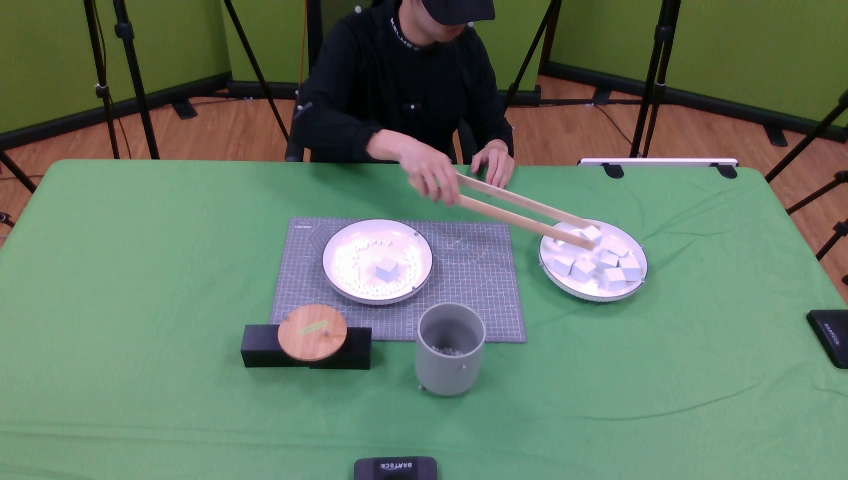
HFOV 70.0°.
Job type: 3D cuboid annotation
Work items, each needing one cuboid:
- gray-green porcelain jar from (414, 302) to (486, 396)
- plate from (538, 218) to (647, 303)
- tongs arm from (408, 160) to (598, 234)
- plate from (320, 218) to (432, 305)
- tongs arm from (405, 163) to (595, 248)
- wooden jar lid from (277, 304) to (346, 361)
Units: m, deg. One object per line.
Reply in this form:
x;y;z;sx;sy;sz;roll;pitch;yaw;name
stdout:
0.038;0.177;0.958;0.106;0.127;0.105;2;46;-2;gray-green porcelain jar
0.322;0.042;1.171;0.208;0.039;0.206;2;46;-2;plate
0.151;-0.085;1.184;0.387;0.028;0.028;21;52;6;tongs arm
-0.089;0.044;1.134;0.209;0.038;0.208;3;46;-2;plate
0.142;-0.067;1.165;0.385;0.026;0.050;18;48;4;tongs arm
-0.179;0.150;0.972;0.108;0.021;0.107;2;45;-2;wooden jar lid
